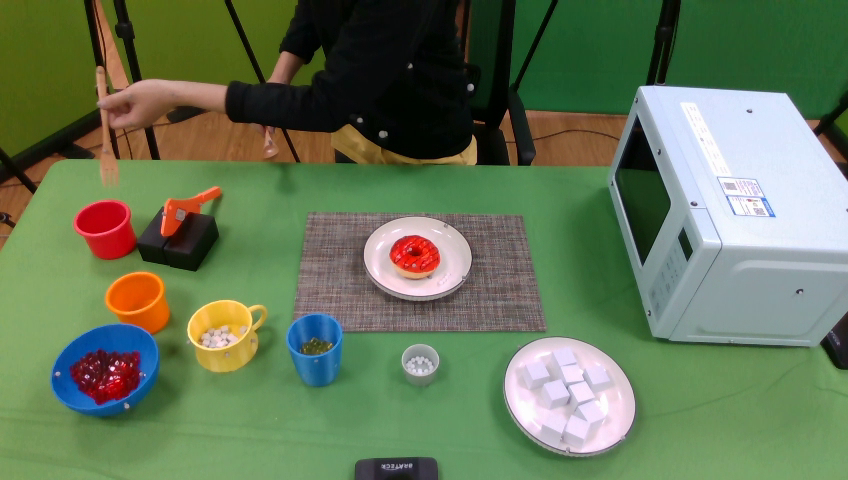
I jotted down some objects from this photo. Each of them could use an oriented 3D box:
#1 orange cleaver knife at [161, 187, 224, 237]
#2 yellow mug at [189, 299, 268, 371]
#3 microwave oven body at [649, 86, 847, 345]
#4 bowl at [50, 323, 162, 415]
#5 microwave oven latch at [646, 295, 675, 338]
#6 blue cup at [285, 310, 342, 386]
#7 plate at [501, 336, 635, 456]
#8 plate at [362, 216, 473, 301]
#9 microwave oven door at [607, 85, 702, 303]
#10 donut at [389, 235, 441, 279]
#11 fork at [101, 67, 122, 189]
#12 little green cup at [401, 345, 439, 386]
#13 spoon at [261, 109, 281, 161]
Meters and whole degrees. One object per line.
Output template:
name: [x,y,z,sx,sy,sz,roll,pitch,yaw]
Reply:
orange cleaver knife: [-0.448,-0.059,1.181,0.012,0.077,0.211,13,17,6]
yellow mug: [-0.316,0.148,1.002,0.131,0.064,0.099,-32,56,-31]
microwave oven body: [0.568,-0.053,1.118,0.326,0.261,0.439,2,45,-1]
bowl: [-0.472,0.209,0.924,0.151,0.077,0.150,2,45,-2]
microwave oven latch: [0.412,0.134,1.061,0.030,0.029,0.078,4,45,1]
blue cup: [-0.170,0.179,0.958,0.093,0.101,0.092,2,44,-1]
plate: [0.225,0.249,0.964,0.208,0.039,0.206,2,46,-2]
plate: [-0.012,0.038,1.145,0.209,0.038,0.208,2,46,-2]
microwave oven door: [0.423,-0.094,1.140,0.039,0.245,0.353,3,46,-1]
donut: [-0.016,0.031,1.135,0.099,0.048,0.098,4,44,-4]
fork: [-0.541,-0.192,1.041,0.028,0.207,0.018,-4,7,-23]
little green cup: [-0.007,0.206,0.988,0.061,0.039,0.061,2,46,-2]
spoon: [-0.337,-0.232,1.316,0.041,0.022,0.192,-18,51,1]
